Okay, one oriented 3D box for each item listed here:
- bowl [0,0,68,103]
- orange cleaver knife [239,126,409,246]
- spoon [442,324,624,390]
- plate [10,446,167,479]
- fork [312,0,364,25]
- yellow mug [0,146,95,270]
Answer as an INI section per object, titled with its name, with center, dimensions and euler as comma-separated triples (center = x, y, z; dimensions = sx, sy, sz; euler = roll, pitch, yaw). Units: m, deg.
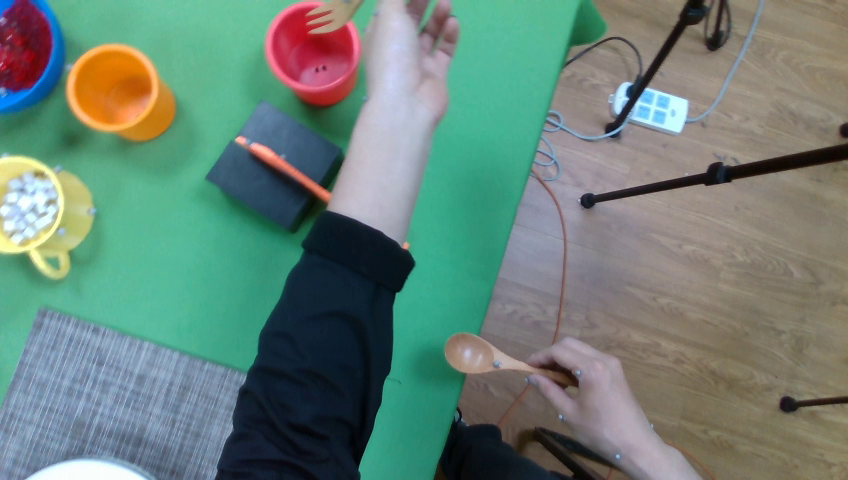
[bowl]
center = -0.444, -0.211, 0.642
dimensions = 0.151, 0.077, 0.151
euler = 0, 87, -4
[orange cleaver knife]
center = -0.104, -0.056, 0.650
dimensions = 0.213, 0.076, 0.012
euler = 36, 86, -30
[spoon]
center = 0.112, 0.127, 0.623
dimensions = 0.193, 0.022, 0.041
euler = 14, 64, 3
[plate]
center = -0.350, 0.318, 0.633
dimensions = 0.209, 0.038, 0.208
euler = 0, 87, -3
[fork]
center = -0.034, -0.217, 0.509
dimensions = 0.019, 0.206, 0.028
euler = -2, 92, -41
[yellow mug]
center = -0.408, -0.030, 0.639
dimensions = 0.100, 0.064, 0.130
euler = -23, 89, -4
